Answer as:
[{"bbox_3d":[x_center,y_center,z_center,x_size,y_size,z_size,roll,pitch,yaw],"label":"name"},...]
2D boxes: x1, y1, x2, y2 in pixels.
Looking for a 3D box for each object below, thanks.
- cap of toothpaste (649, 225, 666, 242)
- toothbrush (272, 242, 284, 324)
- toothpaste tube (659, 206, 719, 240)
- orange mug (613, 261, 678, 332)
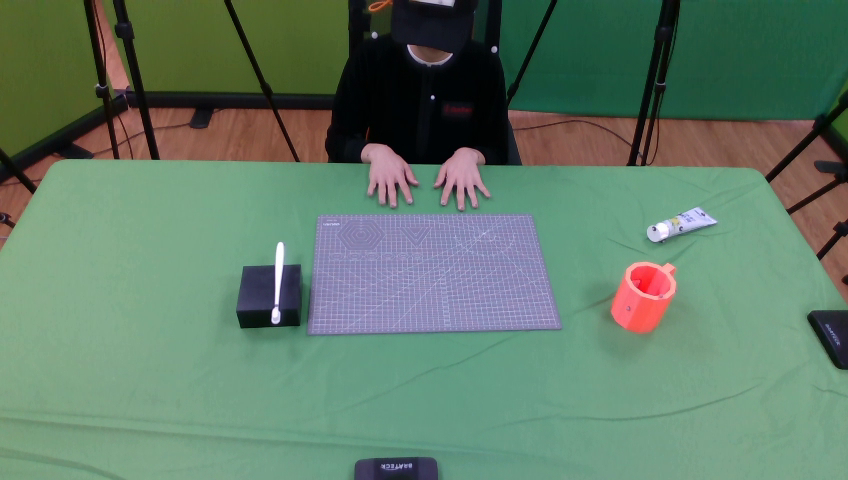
[{"bbox_3d":[0.473,-0.015,1.226,0.011,0.037,0.037,-20,51,-26],"label":"cap of toothpaste"},{"bbox_3d":[-0.253,0.068,1.048,0.014,0.017,0.180,-5,46,-4],"label":"toothbrush"},{"bbox_3d":[0.542,-0.035,1.259,0.165,0.034,0.054,-19,54,-26],"label":"toothpaste tube"},{"bbox_3d":[0.403,0.091,1.078,0.126,0.101,0.083,-33,56,-25],"label":"orange mug"}]
